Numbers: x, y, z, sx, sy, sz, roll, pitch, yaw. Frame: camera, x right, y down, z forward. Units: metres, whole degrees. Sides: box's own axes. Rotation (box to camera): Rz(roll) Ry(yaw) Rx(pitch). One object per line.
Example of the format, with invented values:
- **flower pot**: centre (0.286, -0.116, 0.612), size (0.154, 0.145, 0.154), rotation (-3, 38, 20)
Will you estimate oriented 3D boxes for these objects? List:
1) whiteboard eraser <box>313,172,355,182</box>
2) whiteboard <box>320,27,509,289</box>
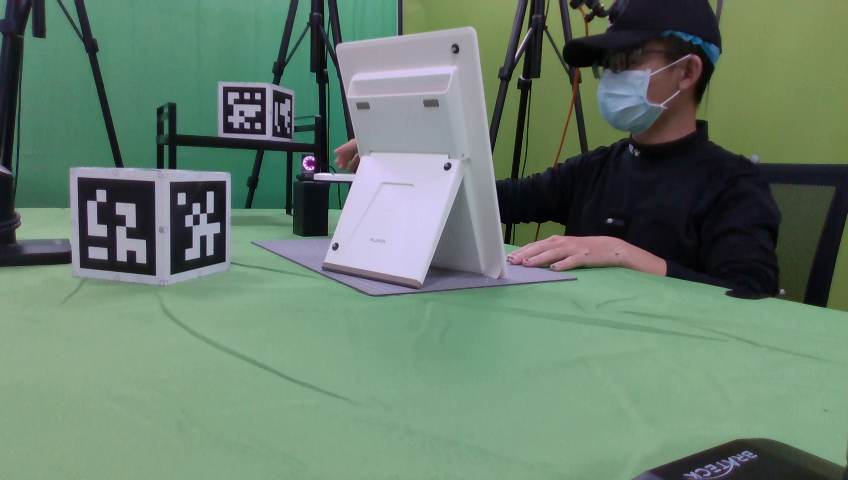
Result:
- **whiteboard eraser**: centre (-0.164, -0.121, 1.163), size (0.102, 0.019, 0.041), rotation (-1, 6, -27)
- **whiteboard**: centre (-0.045, -0.076, 0.721), size (0.216, 0.305, 0.144), rotation (9, 29, 39)
